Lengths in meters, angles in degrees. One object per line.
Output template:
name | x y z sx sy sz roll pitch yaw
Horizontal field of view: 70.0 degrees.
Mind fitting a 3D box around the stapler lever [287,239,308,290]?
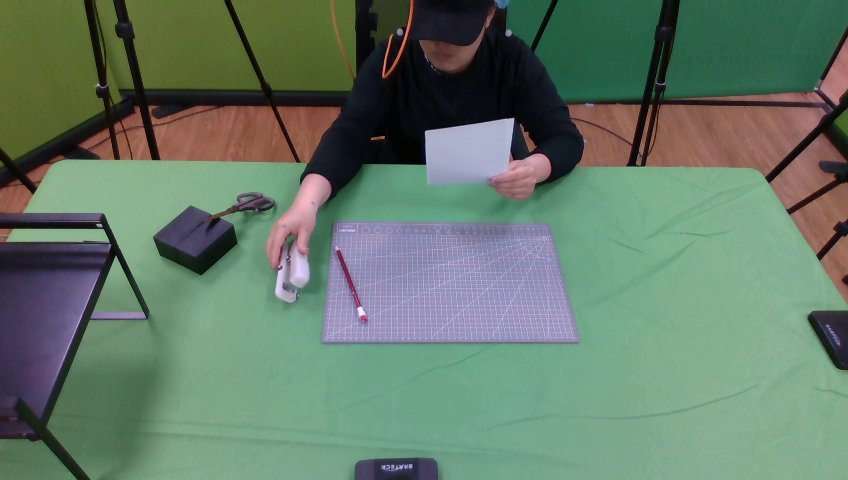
stapler lever | -0.227 0.040 1.098 0.027 0.040 0.117 33 34 -32

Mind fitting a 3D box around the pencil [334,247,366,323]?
pencil | -0.140 0.077 1.116 0.012 0.012 0.192 -14 48 -17

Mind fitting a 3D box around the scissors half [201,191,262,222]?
scissors half | -0.381 -0.066 1.198 0.040 0.013 0.175 25 28 9

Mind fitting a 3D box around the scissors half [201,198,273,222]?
scissors half | -0.365 -0.055 1.192 0.040 0.013 0.175 39 32 22

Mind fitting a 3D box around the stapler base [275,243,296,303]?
stapler base | -0.244 0.055 1.110 0.041 0.024 0.129 33 34 -32
